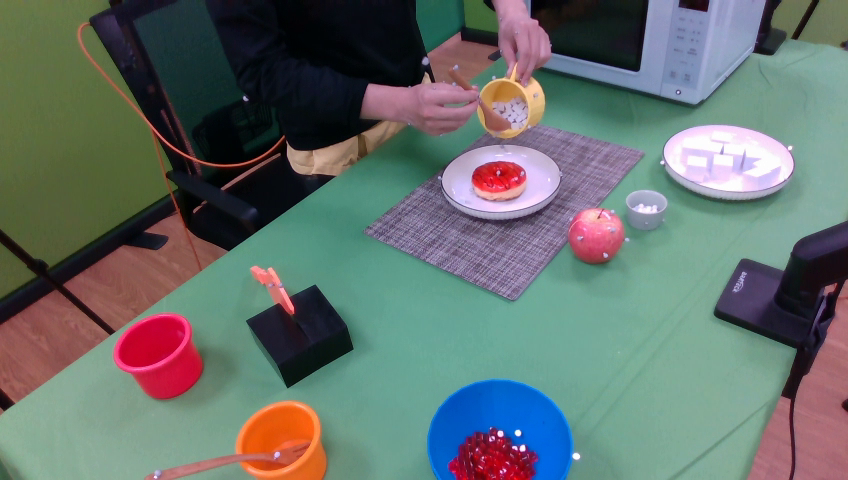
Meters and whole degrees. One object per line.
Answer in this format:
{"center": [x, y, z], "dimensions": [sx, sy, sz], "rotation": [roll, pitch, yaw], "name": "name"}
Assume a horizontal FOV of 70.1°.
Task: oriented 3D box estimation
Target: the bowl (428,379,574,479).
{"center": [0.082, 0.233, 0.644], "dimensions": [0.151, 0.077, 0.150], "rotation": [-4, 40, 4], "name": "bowl"}

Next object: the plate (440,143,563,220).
{"center": [0.134, -0.098, 1.051], "dimensions": [0.209, 0.038, 0.208], "rotation": [-4, 40, 4], "name": "plate"}

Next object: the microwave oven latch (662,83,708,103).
{"center": [0.518, -0.297, 1.204], "dimensions": [0.078, 0.029, 0.030], "rotation": [28, 52, 35], "name": "microwave oven latch"}

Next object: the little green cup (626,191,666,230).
{"center": [0.352, -0.046, 0.963], "dimensions": [0.061, 0.039, 0.061], "rotation": [-4, 40, 4], "name": "little green cup"}

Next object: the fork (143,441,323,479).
{"center": [-0.189, 0.231, 0.631], "dimensions": [0.028, 0.018, 0.209], "rotation": [35, 13, 37], "name": "fork"}

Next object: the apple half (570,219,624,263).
{"center": [0.250, 0.009, 0.885], "dimensions": [0.081, 0.081, 0.033], "rotation": [7, 39, 17], "name": "apple half"}

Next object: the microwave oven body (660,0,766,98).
{"center": [0.472, -0.513, 1.317], "dimensions": [0.438, 0.261, 0.327], "rotation": [26, 51, 34], "name": "microwave oven body"}

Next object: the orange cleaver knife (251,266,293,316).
{"center": [-0.221, 0.071, 0.873], "dimensions": [0.012, 0.077, 0.210], "rotation": [-25, 11, -21], "name": "orange cleaver knife"}

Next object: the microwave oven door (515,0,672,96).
{"center": [0.343, -0.455, 1.259], "dimensions": [0.353, 0.245, 0.039], "rotation": [26, 51, 33], "name": "microwave oven door"}

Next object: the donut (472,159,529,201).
{"center": [0.132, -0.105, 1.043], "dimensions": [0.099, 0.048, 0.098], "rotation": [-5, 38, 4], "name": "donut"}

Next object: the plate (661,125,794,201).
{"center": [0.513, -0.128, 1.035], "dimensions": [0.207, 0.039, 0.206], "rotation": [-4, 40, 4], "name": "plate"}

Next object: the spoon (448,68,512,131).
{"center": [0.086, -0.216, 0.943], "dimensions": [0.041, 0.195, 0.021], "rotation": [-11, 64, 30], "name": "spoon"}

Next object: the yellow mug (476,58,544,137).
{"center": [0.150, -0.245, 1.031], "dimensions": [0.099, 0.131, 0.064], "rotation": [25, 32, 22], "name": "yellow mug"}

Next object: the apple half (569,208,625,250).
{"center": [0.262, -0.014, 0.913], "dimensions": [0.080, 0.075, 0.053], "rotation": [5, 37, 20], "name": "apple half"}
